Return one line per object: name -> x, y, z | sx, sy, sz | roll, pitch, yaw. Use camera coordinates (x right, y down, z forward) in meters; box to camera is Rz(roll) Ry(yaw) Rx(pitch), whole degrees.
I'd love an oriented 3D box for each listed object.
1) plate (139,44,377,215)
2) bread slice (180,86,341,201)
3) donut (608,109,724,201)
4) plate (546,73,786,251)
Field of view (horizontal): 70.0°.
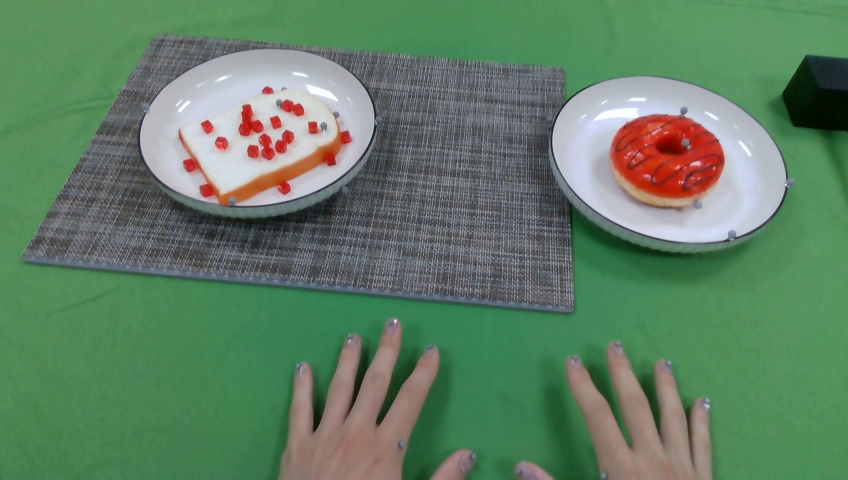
plate -> -0.148, -0.101, 0.556 | 0.209, 0.038, 0.207 | 1, 55, -1
bread slice -> -0.146, -0.097, 0.556 | 0.131, 0.019, 0.104 | -29, 61, -20
donut -> 0.214, -0.077, 0.541 | 0.099, 0.048, 0.098 | 0, 55, 1
plate -> 0.213, -0.071, 0.552 | 0.208, 0.039, 0.205 | 1, 54, -1
